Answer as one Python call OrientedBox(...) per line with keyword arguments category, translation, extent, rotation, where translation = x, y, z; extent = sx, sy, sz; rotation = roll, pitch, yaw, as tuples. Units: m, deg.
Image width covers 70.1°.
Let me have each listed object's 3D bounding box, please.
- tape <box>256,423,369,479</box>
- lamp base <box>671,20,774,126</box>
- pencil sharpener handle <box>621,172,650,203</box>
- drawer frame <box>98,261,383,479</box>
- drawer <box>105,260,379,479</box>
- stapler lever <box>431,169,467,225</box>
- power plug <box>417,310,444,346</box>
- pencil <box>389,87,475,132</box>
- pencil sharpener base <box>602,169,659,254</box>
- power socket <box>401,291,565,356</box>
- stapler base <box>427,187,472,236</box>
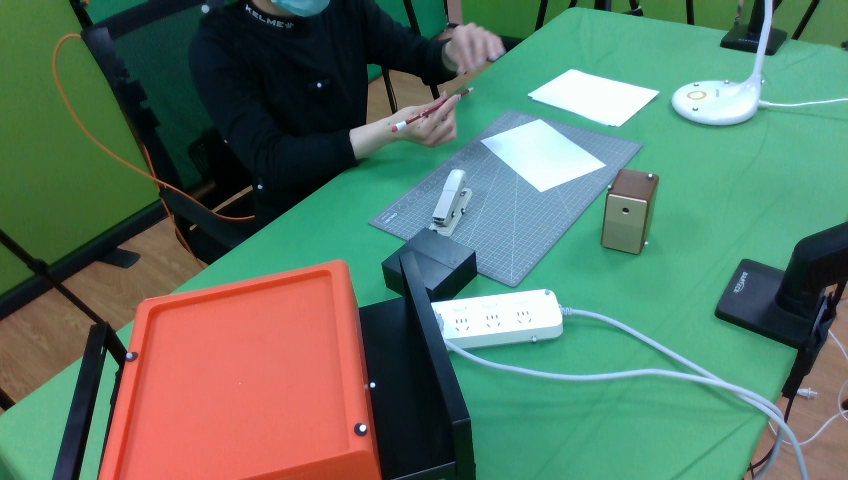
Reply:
OrientedBox(category="tape", translation=(-0.121, 0.263, 0.660), extent=(0.117, 0.053, 0.116), rotation=(-4, 40, 4))
OrientedBox(category="lamp base", translation=(0.581, -0.332, 1.154), extent=(0.179, 0.181, 0.160), rotation=(2, 41, 7))
OrientedBox(category="pencil sharpener handle", translation=(0.328, -0.087, 0.940), extent=(0.036, 0.068, 0.030), rotation=(30, 49, 7))
OrientedBox(category="drawer frame", translation=(-0.149, 0.129, 0.520), extent=(0.202, 0.083, 0.212), rotation=(-12, 41, -6))
OrientedBox(category="drawer", translation=(-0.150, 0.127, 0.525), extent=(0.195, 0.073, 0.210), rotation=(-11, 41, -5))
OrientedBox(category="stapler lever", translation=(0.043, -0.074, 1.010), extent=(0.026, 0.040, 0.118), rotation=(9, 44, 21))
OrientedBox(category="power plug", translation=(0.006, 0.122, 0.785), extent=(0.035, 0.053, 0.072), rotation=(-1, 40, 8))
OrientedBox(category="pencil", translation=(0.018, -0.237, 1.081), extent=(0.195, 0.012, 0.012), rotation=(-31, 46, -23))
OrientedBox(category="pencil sharpener base", translation=(0.312, -0.044, 0.913), extent=(0.061, 0.107, 0.077), rotation=(14, 45, 24))
OrientedBox(category="power socket", translation=(0.080, 0.112, 0.822), extent=(0.227, 0.033, 0.072), rotation=(-6, 41, 0))
OrientedBox(category="stapler base", translation=(0.045, -0.057, 1.028), extent=(0.041, 0.024, 0.130), rotation=(9, 44, 21))
